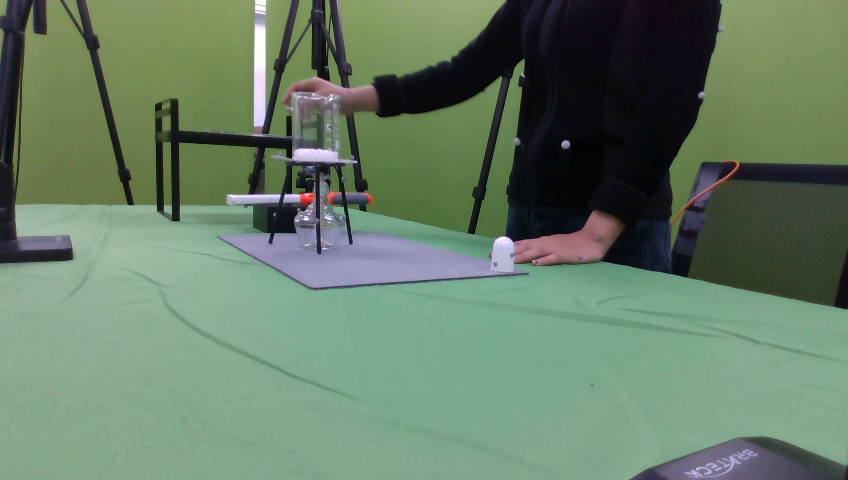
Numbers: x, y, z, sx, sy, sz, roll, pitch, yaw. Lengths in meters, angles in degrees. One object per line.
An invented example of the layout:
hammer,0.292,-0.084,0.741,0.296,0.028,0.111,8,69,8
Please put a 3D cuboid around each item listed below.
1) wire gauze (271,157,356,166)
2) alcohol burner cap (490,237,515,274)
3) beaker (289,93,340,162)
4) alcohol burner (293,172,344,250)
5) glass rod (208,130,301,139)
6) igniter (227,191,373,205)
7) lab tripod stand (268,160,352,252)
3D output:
wire gauze,-0.167,-0.120,0.917,0.125,0.011,0.121,-2,6,-8
alcohol burner cap,0.104,0.020,0.793,0.034,0.048,0.034,2,6,0
beaker,-0.162,-0.167,0.908,0.074,0.100,0.083,-4,10,-31
alcohol burner,-0.159,-0.045,0.921,0.078,0.119,0.078,5,7,0
glass rod,-0.366,-0.231,1.320,0.201,0.008,0.008,-1,8,-30
igniter,-0.232,-0.080,1.161,0.278,0.025,0.057,-3,12,-28
lab tripod stand,-0.171,-0.055,0.921,0.148,0.131,0.148,1,9,0
